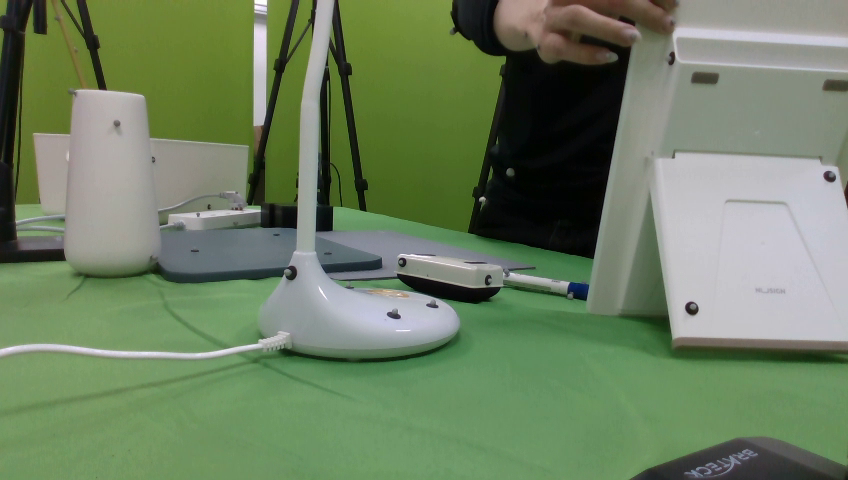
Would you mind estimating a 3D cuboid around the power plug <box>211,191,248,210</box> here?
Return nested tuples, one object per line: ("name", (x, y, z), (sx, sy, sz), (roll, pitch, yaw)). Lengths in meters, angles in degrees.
("power plug", (-0.384, -0.071, 1.206), (0.072, 0.052, 0.035), (1, 7, 27))

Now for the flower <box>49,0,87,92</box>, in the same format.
("flower", (-0.361, -0.142, 0.659), (0.038, 0.361, 0.044), (-13, 11, 11))

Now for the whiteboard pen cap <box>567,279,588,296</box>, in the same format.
("whiteboard pen cap", (0.171, 0.052, 0.648), (0.033, 0.018, 0.018), (10, 10, 30))

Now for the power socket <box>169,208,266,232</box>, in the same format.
("power socket", (-0.379, -0.038, 1.129), (0.072, 0.032, 0.227), (4, 8, 18))

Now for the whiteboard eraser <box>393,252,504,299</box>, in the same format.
("whiteboard eraser", (0.024, 0.037, 0.637), (0.112, 0.042, 0.056), (8, 7, 42))

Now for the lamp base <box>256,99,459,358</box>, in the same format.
("lamp base", (-0.055, -0.013, 0.463), (0.160, 0.180, 0.180), (6, 11, 27))

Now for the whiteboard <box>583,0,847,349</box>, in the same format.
("whiteboard", (0.269, -0.041, 0.472), (0.217, 0.305, 0.143), (2, 24, -1))

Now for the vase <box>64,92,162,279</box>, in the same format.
("vase", (-0.347, -0.060, 0.673), (0.098, 0.200, 0.098), (1, 7, 0))

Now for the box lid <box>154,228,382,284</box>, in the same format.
("box lid", (-0.250, 0.014, 0.853), (0.265, 0.015, 0.369), (-3, 9, -32))

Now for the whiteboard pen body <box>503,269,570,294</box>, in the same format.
("whiteboard pen body", (0.122, 0.046, 0.680), (0.140, 0.017, 0.017), (8, 9, 30))

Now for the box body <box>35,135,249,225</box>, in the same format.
("box body", (-0.561, -0.127, 1.258), (0.254, 0.160, 0.365), (4, 8, 13))
